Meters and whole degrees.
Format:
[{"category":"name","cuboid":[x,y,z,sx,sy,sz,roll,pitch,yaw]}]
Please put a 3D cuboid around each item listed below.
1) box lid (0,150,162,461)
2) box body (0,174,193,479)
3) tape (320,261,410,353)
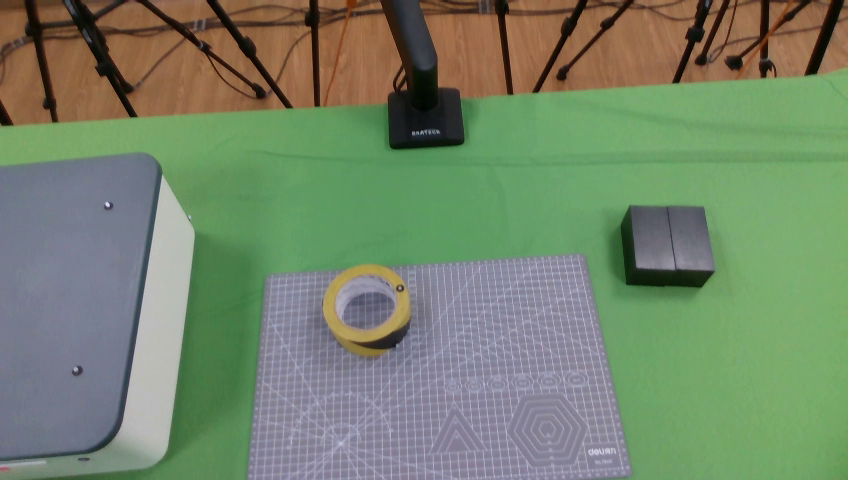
[{"category":"box lid","cuboid":[-0.444,0.055,0.675,0.263,0.015,0.368,-5,61,-1]},{"category":"box body","cuboid":[-0.442,0.094,0.738,0.254,0.162,0.360,-5,60,-2]},{"category":"tape","cuboid":[-0.076,0.088,0.791,0.117,0.053,0.116,-1,61,2]}]
